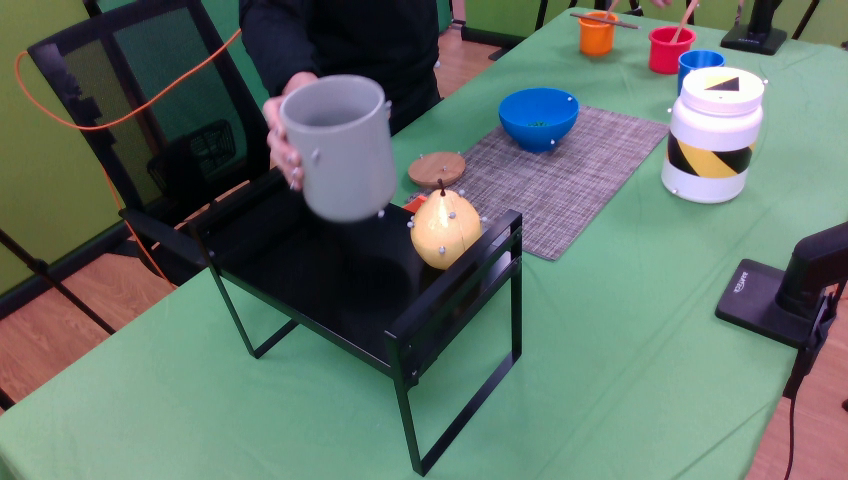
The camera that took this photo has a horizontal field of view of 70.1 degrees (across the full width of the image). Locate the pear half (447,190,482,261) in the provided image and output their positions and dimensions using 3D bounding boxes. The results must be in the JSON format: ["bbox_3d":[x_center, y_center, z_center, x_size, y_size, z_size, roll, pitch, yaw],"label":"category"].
[{"bbox_3d":[0.046,-0.020,0.664,0.031,0.088,0.070,-17,38,-9],"label":"pear half"}]

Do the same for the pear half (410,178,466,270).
[{"bbox_3d":[0.011,-0.019,0.654,0.056,0.110,0.076,-16,37,-9],"label":"pear half"}]

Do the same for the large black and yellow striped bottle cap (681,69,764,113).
[{"bbox_3d":[0.453,-0.229,0.921,0.115,0.019,0.114,-4,39,4],"label":"large black and yellow striped bottle cap"}]

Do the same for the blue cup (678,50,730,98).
[{"bbox_3d":[0.542,-0.310,1.194,0.092,0.101,0.092,-6,41,6],"label":"blue cup"}]

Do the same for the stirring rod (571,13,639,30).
[{"bbox_3d":[0.419,-0.508,1.404,0.174,0.006,0.014,28,55,35],"label":"stirring rod"}]

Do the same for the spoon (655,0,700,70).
[{"bbox_3d":[0.568,-0.463,1.337,0.041,0.022,0.193,30,97,38],"label":"spoon"}]

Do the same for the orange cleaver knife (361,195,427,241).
[{"bbox_3d":[-0.037,-0.029,0.973,0.210,0.077,0.012,-8,33,50],"label":"orange cleaver knife"}]

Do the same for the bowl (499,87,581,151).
[{"bbox_3d":[0.220,-0.223,1.156,0.151,0.077,0.150,-4,40,4],"label":"bowl"}]

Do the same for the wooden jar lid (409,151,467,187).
[{"bbox_3d":[0.027,-0.131,1.124,0.108,0.021,0.108,-8,36,6],"label":"wooden jar lid"}]

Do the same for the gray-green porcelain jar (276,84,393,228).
[{"bbox_3d":[-0.090,-0.085,0.650,0.106,0.127,0.105,-4,44,4],"label":"gray-green porcelain jar"}]

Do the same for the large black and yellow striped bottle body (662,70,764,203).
[{"bbox_3d":[0.464,-0.166,0.976,0.131,0.185,0.130,-5,41,5],"label":"large black and yellow striped bottle body"}]

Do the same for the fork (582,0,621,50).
[{"bbox_3d":[0.446,-0.539,1.438,0.207,0.019,0.028,-57,35,12],"label":"fork"}]
